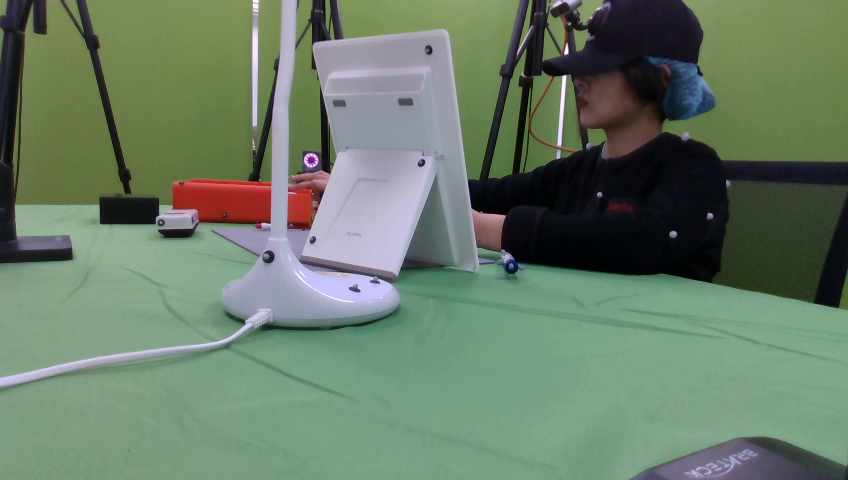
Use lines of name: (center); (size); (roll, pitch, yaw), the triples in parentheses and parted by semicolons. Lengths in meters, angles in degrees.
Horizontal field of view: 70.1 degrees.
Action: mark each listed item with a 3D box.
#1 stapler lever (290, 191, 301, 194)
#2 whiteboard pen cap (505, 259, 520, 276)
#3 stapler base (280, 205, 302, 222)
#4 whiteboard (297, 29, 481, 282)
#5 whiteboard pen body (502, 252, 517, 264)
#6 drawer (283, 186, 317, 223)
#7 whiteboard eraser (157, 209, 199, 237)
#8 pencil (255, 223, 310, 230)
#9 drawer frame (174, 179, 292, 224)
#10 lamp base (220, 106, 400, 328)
stapler lever: (-0.279, -0.086, 1.310); (0.027, 0.040, 0.118); (17, 3, -11)
whiteboard pen cap: (0.110, 0.033, 0.754); (0.018, 0.018, 0.033); (3, 10, 5)
stapler base: (-0.285, -0.061, 1.311); (0.041, 0.024, 0.130); (17, 5, -11)
whiteboard: (-0.075, -0.082, 0.741); (0.216, 0.305, 0.144); (9, 29, 37)
whiteboard pen body: (0.116, 0.029, 0.813); (0.017, 0.017, 0.141); (3, 4, 5)
drawer: (-0.340, -0.083, 1.308); (0.212, 0.073, 0.194); (2, 8, -7)
whiteboard eraser: (-0.411, -0.029, 1.016); (0.056, 0.042, 0.112); (2, 7, -16)
pencil: (-0.216, -0.022, 1.134); (0.195, 0.012, 0.012); (2, 7, -21)
drawer frame: (-0.399, -0.086, 1.299); (0.214, 0.082, 0.201); (1, 8, -8)
lamp base: (-0.101, -0.023, 0.531); (0.160, 0.180, 0.179); (4, 10, 10)
